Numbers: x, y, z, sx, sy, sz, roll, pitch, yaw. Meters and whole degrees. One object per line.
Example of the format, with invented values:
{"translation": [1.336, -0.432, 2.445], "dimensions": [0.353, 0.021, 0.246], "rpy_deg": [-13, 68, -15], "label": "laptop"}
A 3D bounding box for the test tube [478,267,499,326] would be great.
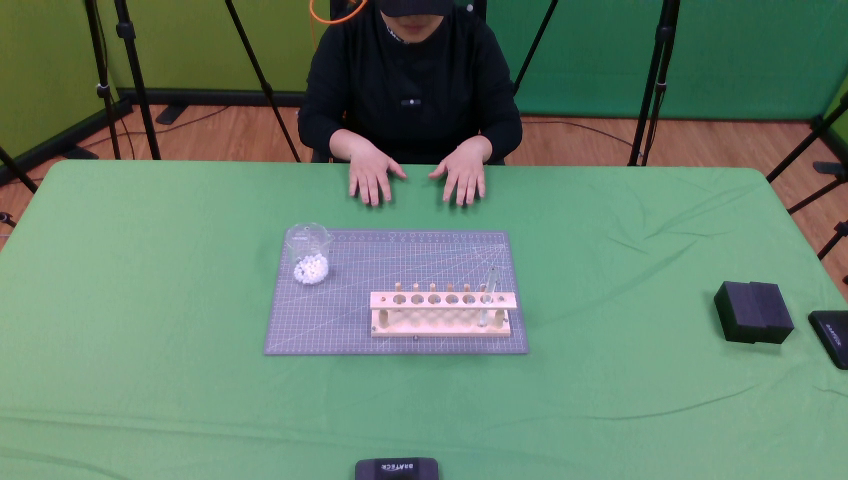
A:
{"translation": [0.105, 0.096, 0.997], "dimensions": [0.017, 0.151, 0.017], "rpy_deg": [2, 49, -2], "label": "test tube"}

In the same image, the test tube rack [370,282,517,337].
{"translation": [0.030, 0.116, 1.041], "dimensions": [0.242, 0.085, 0.066], "rpy_deg": [1, 46, -4], "label": "test tube rack"}

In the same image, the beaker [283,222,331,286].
{"translation": [-0.208, 0.028, 1.098], "dimensions": [0.084, 0.101, 0.073], "rpy_deg": [2, 46, -4], "label": "beaker"}
